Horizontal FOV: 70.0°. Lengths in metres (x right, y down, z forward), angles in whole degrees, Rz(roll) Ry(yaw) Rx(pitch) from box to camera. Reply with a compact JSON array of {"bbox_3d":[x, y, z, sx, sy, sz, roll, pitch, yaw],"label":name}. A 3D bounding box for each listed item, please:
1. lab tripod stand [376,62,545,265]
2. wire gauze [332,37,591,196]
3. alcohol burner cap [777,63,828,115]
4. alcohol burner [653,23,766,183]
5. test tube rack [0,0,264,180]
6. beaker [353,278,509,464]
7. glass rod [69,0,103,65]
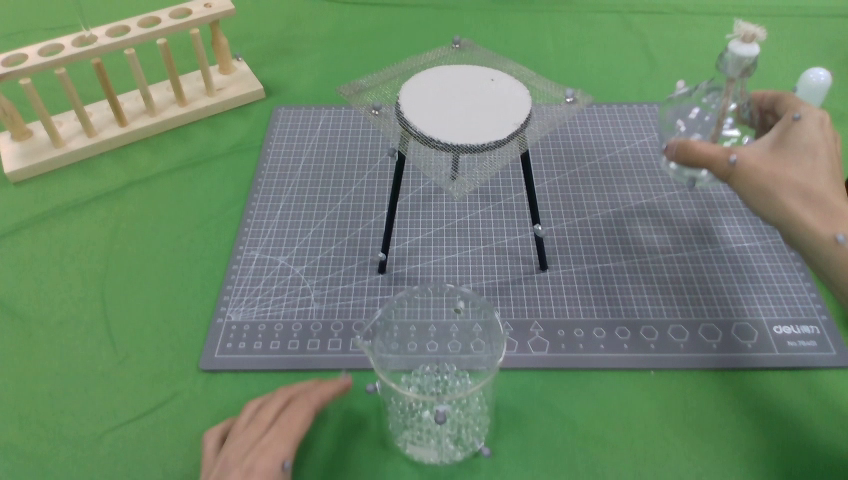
[{"bbox_3d":[0.028,-0.049,0.443,0.148,0.132,0.147,1,49,0],"label":"lab tripod stand"},{"bbox_3d":[0.023,-0.091,0.390,0.121,0.011,0.124,-33,57,-25],"label":"wire gauze"},{"bbox_3d":[0.370,-0.149,0.587,0.034,0.048,0.033,0,49,0],"label":"alcohol burner cap"},{"bbox_3d":[0.207,-0.099,0.430,0.078,0.120,0.077,0,49,0],"label":"alcohol burner"},{"bbox_3d":[-0.286,-0.150,0.570,0.242,0.086,0.066,-25,53,-19],"label":"test tube rack"},{"bbox_3d":[0.005,0.082,0.359,0.084,0.101,0.073,2,49,4],"label":"beaker"},{"bbox_3d":[-0.297,-0.193,0.520,0.008,0.201,0.008,3,50,-3],"label":"glass rod"}]
